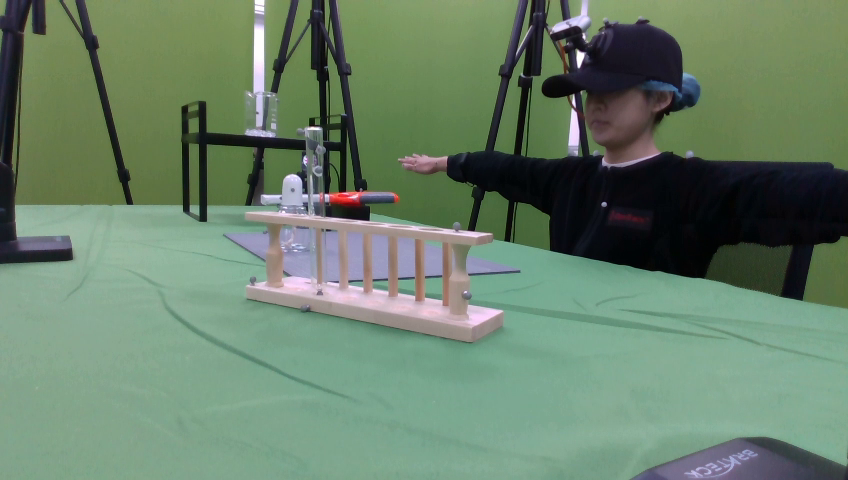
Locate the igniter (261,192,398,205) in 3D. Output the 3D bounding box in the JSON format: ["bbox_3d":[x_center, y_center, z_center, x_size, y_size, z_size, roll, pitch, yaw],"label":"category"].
[{"bbox_3d":[-0.185,-0.083,1.217,0.278,0.025,0.057,-2,12,-25],"label":"igniter"}]

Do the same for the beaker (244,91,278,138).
[{"bbox_3d":[-0.368,-0.280,1.356,0.074,0.100,0.084,4,8,6],"label":"beaker"}]

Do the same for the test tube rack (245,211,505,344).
[{"bbox_3d":[-0.049,0.025,0.547,0.241,0.085,0.067,7,8,29],"label":"test tube rack"}]

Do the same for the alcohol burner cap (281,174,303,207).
[{"bbox_3d":[-0.193,-0.072,0.884,0.034,0.048,0.034,1,5,0],"label":"alcohol burner cap"}]

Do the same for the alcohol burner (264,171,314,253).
[{"bbox_3d":[-0.194,-0.042,0.888,0.078,0.119,0.078,3,5,0],"label":"alcohol burner"}]

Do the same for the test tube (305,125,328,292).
[{"bbox_3d":[-0.096,-0.027,0.546,0.017,0.150,0.017,0,8,0],"label":"test tube"}]
